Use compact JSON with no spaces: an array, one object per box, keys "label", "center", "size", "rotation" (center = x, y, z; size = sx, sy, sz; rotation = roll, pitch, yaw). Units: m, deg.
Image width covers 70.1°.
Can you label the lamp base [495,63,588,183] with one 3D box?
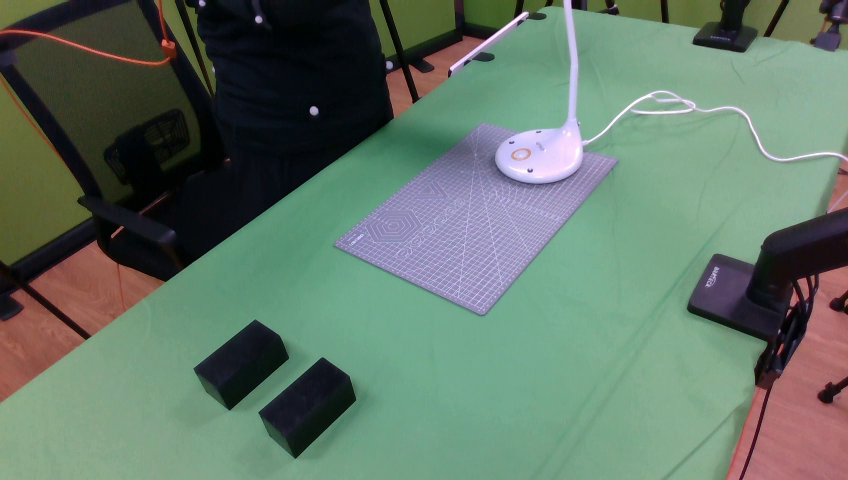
[{"label":"lamp base","center":[0.215,-0.217,1.067],"size":[0.180,0.181,0.159],"rotation":[-19,42,-18]}]
